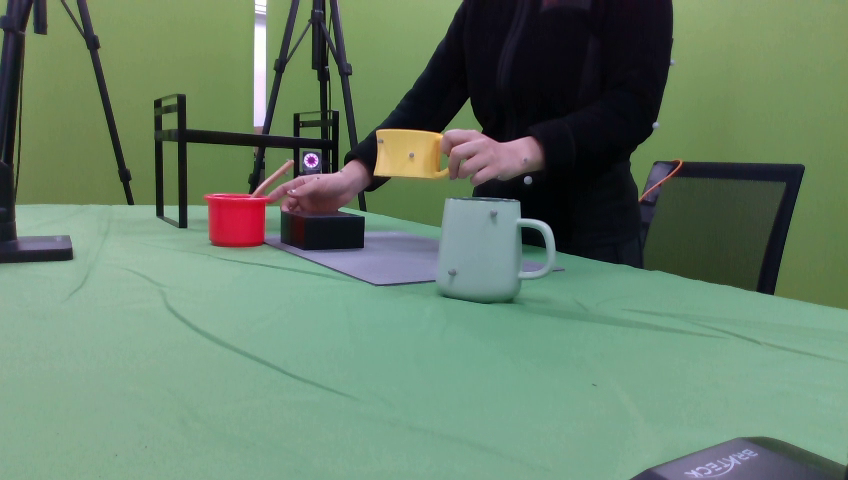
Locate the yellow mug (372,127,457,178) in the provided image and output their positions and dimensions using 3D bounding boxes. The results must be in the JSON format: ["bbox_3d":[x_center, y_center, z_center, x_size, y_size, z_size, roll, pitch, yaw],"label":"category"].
[{"bbox_3d":[-0.010,-0.123,0.864,0.130,0.064,0.100,7,6,31],"label":"yellow mug"}]

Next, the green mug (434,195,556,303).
[{"bbox_3d":[0.074,0.009,0.624,0.125,0.105,0.093,5,7,23],"label":"green mug"}]

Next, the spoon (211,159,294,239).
[{"bbox_3d":[-0.270,-0.069,0.970,0.041,0.022,0.194,6,52,42],"label":"spoon"}]
